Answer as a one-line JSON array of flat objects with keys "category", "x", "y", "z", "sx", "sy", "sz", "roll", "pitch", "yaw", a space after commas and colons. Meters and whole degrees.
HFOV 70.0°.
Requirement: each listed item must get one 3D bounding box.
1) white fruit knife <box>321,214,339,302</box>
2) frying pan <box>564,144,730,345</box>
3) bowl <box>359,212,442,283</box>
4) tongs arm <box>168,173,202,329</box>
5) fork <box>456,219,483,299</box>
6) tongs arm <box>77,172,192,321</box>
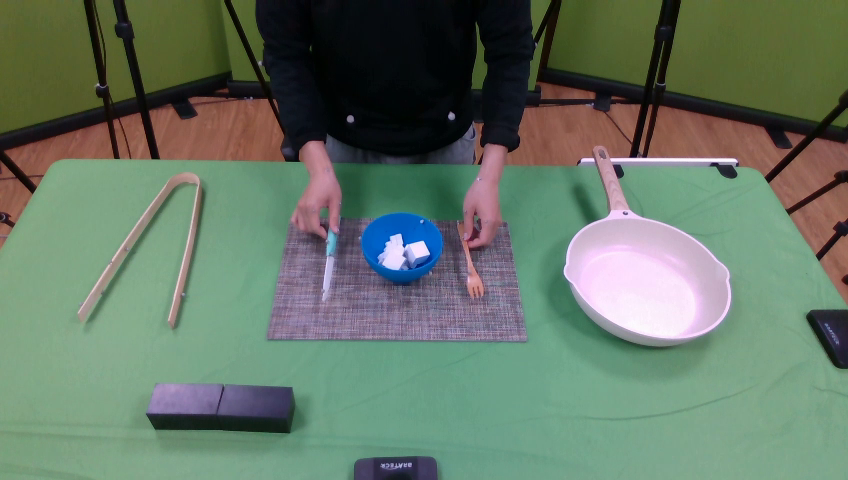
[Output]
[{"category": "white fruit knife", "x": -0.176, "y": 0.028, "z": 1.126, "sx": 0.016, "sy": 0.027, "sz": 0.206, "roll": -15, "pitch": 49, "yaw": 19}, {"category": "frying pan", "x": 0.396, "y": -0.008, "z": 1.179, "sx": 0.307, "sy": 0.103, "sz": 0.484, "roll": 0, "pitch": 55, "yaw": -5}, {"category": "bowl", "x": -0.045, "y": 0.026, "z": 1.124, "sx": 0.151, "sy": 0.077, "sz": 0.150, "roll": 2, "pitch": 46, "yaw": -2}, {"category": "tongs arm", "x": -0.454, "y": 0.006, "z": 1.153, "sx": 0.028, "sy": 0.028, "sz": 0.385, "roll": -5, "pitch": 47, "yaw": -6}, {"category": "fork", "x": 0.082, "y": 0.032, "z": 1.148, "sx": 0.028, "sy": 0.019, "sz": 0.206, "roll": -18, "pitch": 48, "yaw": 9}, {"category": "tongs arm", "x": -0.535, "y": -0.002, "z": 1.147, "sx": 0.051, "sy": 0.026, "sz": 0.382, "roll": 7, "pitch": 45, "yaw": 1}]
